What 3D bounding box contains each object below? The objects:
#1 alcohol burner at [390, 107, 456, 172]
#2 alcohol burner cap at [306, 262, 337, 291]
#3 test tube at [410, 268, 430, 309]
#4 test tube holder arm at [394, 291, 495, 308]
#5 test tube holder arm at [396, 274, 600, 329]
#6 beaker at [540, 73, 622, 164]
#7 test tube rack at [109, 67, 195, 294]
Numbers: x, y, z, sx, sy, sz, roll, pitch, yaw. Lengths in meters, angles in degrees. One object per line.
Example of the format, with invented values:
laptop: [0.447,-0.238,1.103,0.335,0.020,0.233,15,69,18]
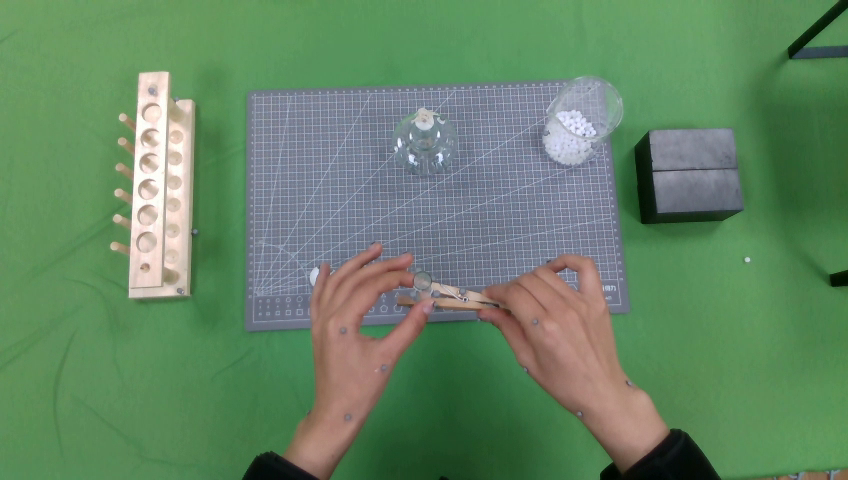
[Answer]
alcohol burner: [-0.002,-0.122,0.692,0.078,0.119,0.077,0,79,1]
alcohol burner cap: [-0.119,0.040,0.693,0.034,0.048,0.033,0,79,-2]
test tube: [-0.002,0.045,0.530,0.017,0.151,0.017,0,77,1]
test tube holder arm: [0.018,0.052,0.527,0.088,0.015,0.010,3,80,3]
test tube holder arm: [0.063,0.053,0.525,0.178,0.015,0.013,11,81,4]
beaker: [0.175,-0.136,0.706,0.084,0.100,0.073,-4,78,-1]
test tube rack: [-0.313,-0.065,0.691,0.067,0.085,0.241,-2,79,-1]
